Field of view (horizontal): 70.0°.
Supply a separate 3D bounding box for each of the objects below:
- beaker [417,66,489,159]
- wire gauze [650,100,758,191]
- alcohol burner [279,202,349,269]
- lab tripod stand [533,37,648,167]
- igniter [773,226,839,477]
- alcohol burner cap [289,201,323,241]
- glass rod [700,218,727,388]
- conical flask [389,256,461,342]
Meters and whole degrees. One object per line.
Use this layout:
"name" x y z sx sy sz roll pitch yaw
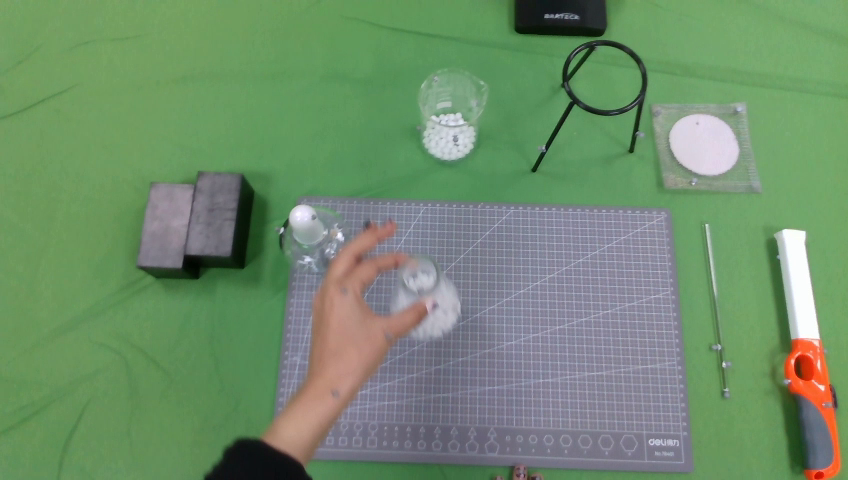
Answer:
"beaker" 0.033 -0.146 0.713 0.084 0.101 0.073 -22 74 -8
"wire gauze" 0.349 -0.120 0.755 0.125 0.011 0.121 1 73 -2
"alcohol burner" -0.123 -0.010 0.659 0.078 0.120 0.077 0 73 2
"lab tripod stand" 0.190 -0.154 0.698 0.148 0.132 0.147 0 75 0
"igniter" 0.423 0.118 0.674 0.057 0.025 0.275 6 73 -10
"alcohol burner cap" -0.123 -0.023 0.625 0.034 0.048 0.033 1 67 -1
"glass rod" 0.333 0.069 0.697 0.008 0.008 0.198 1 73 0
"conical flask" -0.002 0.051 0.580 0.075 0.122 0.075 -1 70 2
